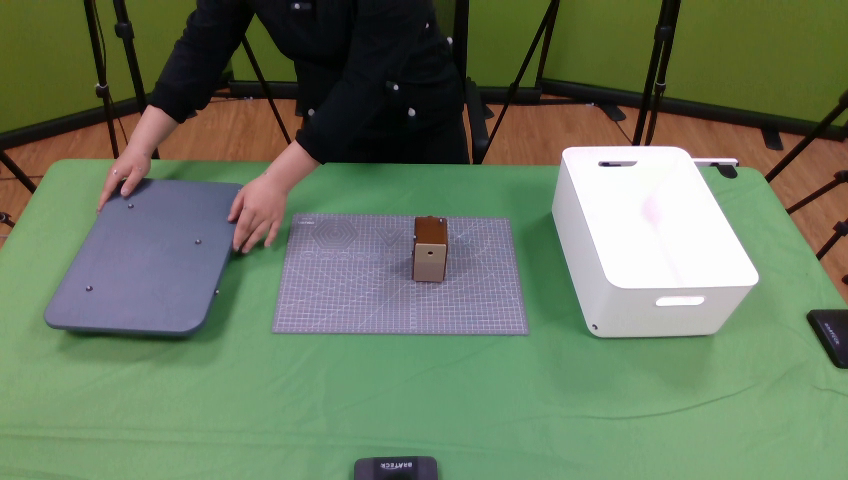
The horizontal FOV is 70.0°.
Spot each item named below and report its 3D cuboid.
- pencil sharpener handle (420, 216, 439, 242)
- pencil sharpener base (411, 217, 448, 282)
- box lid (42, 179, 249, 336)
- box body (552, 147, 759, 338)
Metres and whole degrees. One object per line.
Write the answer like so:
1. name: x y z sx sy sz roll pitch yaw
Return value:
1. pencil sharpener handle: 0.008 -0.027 1.145 0.036 0.068 0.030 6 45 -6
2. pencil sharpener base: 0.009 0.017 1.118 0.061 0.107 0.076 1 45 -2
3. box lid: -0.484 0.017 1.093 0.263 0.015 0.369 3 46 -1
4. box body: 0.400 -0.001 1.131 0.254 0.161 0.361 -1 46 -5
